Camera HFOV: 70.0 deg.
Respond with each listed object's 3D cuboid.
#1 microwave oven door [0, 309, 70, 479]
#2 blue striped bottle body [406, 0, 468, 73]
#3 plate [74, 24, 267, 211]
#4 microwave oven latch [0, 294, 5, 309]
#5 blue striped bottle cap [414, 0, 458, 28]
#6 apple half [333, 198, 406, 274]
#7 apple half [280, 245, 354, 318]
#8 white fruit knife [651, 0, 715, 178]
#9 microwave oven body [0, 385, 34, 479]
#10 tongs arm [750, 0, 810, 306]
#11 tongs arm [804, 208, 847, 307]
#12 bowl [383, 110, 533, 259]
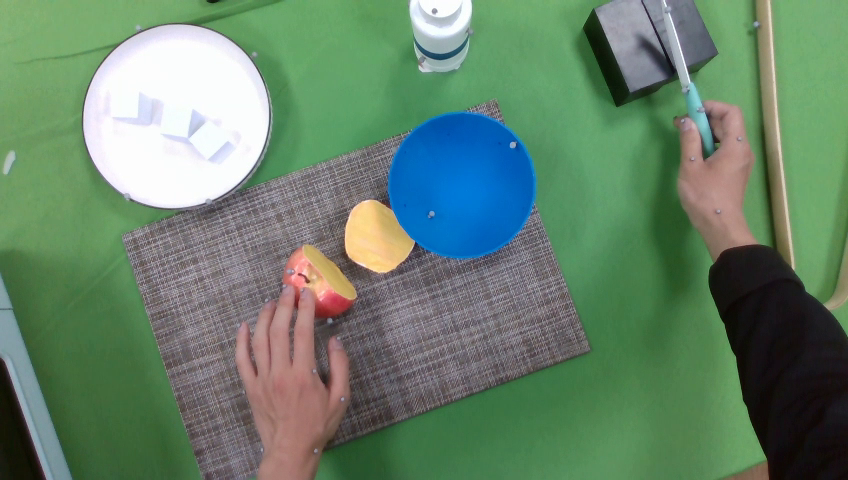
[{"bbox_3d":[-0.404,0.236,0.534,0.039,0.244,0.355,-22,86,-1],"label":"microwave oven door"},{"bbox_3d":[0.014,-0.226,0.636,0.063,0.121,0.063,0,86,1],"label":"blue striped bottle body"},{"bbox_3d":[-0.276,-0.132,0.676,0.208,0.039,0.207,0,86,0],"label":"plate"},{"bbox_3d":[-0.482,0.041,0.649,0.030,0.029,0.079,-22,87,-1],"label":"microwave oven latch"},{"bbox_3d":[0.011,-0.230,0.585,0.044,0.020,0.044,0,85,-1],"label":"blue striped bottle cap"},{"bbox_3d":[-0.061,-0.004,0.659,0.081,0.032,0.081,0,95,-2],"label":"apple half"},{"bbox_3d":[-0.118,0.051,0.639,0.053,0.075,0.080,-45,82,9],"label":"apple half"},{"bbox_3d":[0.271,-0.156,0.634,0.016,0.027,0.209,-26,110,2],"label":"white fruit knife"},{"bbox_3d":[-0.556,0.251,0.540,0.326,0.260,0.441,-22,87,-1],"label":"microwave oven body"},{"bbox_3d":[0.388,-0.120,0.671,0.028,0.028,0.387,-4,87,-2],"label":"tongs arm"},{"bbox_3d":[0.470,-0.113,0.666,0.051,0.026,0.384,9,88,2],"label":"tongs arm"},{"bbox_3d":[0.035,-0.053,0.642,0.151,0.077,0.151,0,87,1],"label":"bowl"}]
